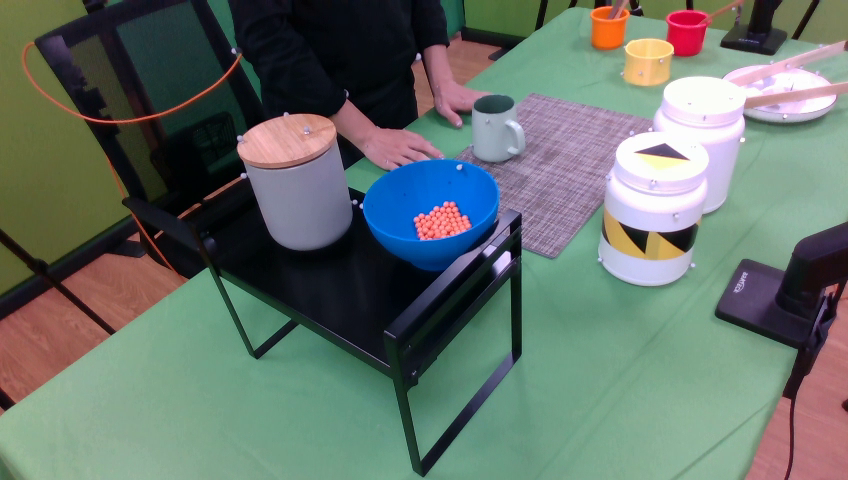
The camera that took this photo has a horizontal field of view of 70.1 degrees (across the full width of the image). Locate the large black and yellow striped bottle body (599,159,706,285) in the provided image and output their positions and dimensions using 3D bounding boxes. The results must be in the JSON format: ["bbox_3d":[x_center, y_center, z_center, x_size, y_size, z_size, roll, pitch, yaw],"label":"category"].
[{"bbox_3d":[0.320,-0.042,0.854,0.131,0.185,0.130,-4,41,4],"label":"large black and yellow striped bottle body"}]

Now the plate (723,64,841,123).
[{"bbox_3d":[0.695,-0.282,1.189,0.207,0.039,0.206,-4,40,4],"label":"plate"}]

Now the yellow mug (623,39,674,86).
[{"bbox_3d":[0.484,-0.398,1.333,0.100,0.064,0.130,-18,41,-11],"label":"yellow mug"}]

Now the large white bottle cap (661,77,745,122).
[{"bbox_3d":[0.415,-0.210,0.904,0.115,0.018,0.114,-4,40,4],"label":"large white bottle cap"}]

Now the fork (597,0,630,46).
[{"bbox_3d":[0.481,-0.556,1.452,0.028,0.019,0.207,38,102,37],"label":"fork"}]

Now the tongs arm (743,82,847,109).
[{"bbox_3d":[0.738,-0.282,1.134,0.388,0.028,0.028,-9,46,-5],"label":"tongs arm"}]

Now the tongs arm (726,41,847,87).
[{"bbox_3d":[0.712,-0.332,1.194,0.386,0.026,0.050,-18,44,-16],"label":"tongs arm"}]

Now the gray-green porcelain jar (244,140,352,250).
[{"bbox_3d":[-0.144,-0.060,0.714,0.106,0.127,0.105,-4,41,4],"label":"gray-green porcelain jar"}]

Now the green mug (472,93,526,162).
[{"bbox_3d":[0.143,-0.202,1.122,0.093,0.105,0.124,-29,45,-23],"label":"green mug"}]

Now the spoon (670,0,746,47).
[{"bbox_3d":[0.629,-0.484,1.350,0.022,0.193,0.042,48,54,-7],"label":"spoon"}]

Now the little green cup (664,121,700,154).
[{"bbox_3d":[0.473,-0.188,1.113,0.061,0.039,0.061,-5,40,5],"label":"little green cup"}]

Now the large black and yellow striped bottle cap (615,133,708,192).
[{"bbox_3d":[0.312,-0.105,0.799,0.115,0.019,0.114,-5,41,5],"label":"large black and yellow striped bottle cap"}]

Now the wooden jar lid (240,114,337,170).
[{"bbox_3d":[-0.149,-0.106,0.673,0.108,0.021,0.108,-6,38,5],"label":"wooden jar lid"}]

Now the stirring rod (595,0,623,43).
[{"bbox_3d":[0.461,-0.555,1.459,0.014,0.006,0.176,30,93,26],"label":"stirring rod"}]

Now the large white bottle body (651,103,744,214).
[{"bbox_3d":[0.426,-0.146,0.958,0.130,0.185,0.130,-4,40,4],"label":"large white bottle body"}]

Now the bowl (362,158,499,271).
[{"bbox_3d":[0.011,-0.019,0.679,0.151,0.077,0.150,-5,41,5],"label":"bowl"}]
